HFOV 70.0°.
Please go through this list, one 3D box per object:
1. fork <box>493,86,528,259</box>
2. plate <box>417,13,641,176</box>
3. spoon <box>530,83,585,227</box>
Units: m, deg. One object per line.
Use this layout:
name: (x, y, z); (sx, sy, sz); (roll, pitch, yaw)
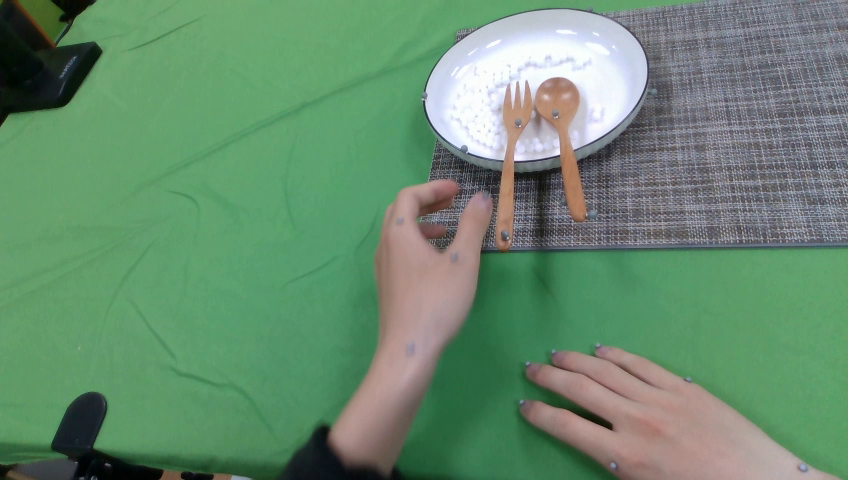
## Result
fork: (0.072, -0.066, 0.517); (0.028, 0.019, 0.205); (-4, 46, 18)
plate: (0.097, -0.137, 0.578); (0.207, 0.039, 0.205); (-8, 53, 11)
spoon: (0.114, -0.078, 0.510); (0.041, 0.022, 0.192); (-6, 40, 10)
